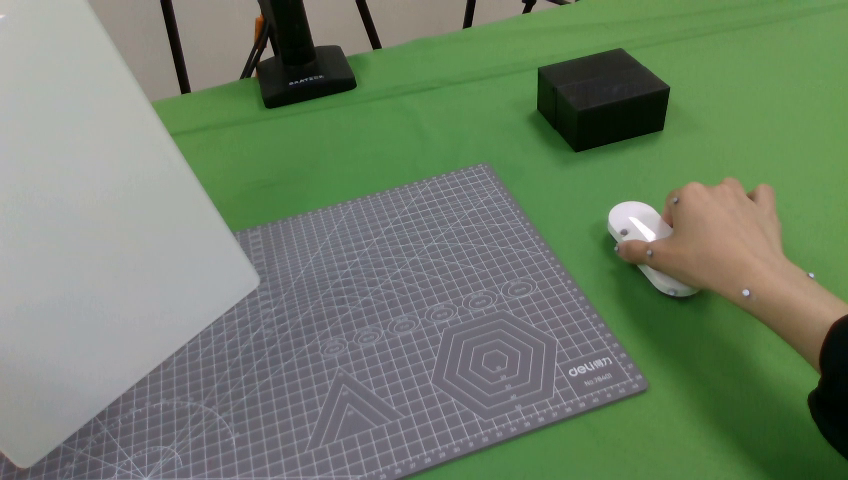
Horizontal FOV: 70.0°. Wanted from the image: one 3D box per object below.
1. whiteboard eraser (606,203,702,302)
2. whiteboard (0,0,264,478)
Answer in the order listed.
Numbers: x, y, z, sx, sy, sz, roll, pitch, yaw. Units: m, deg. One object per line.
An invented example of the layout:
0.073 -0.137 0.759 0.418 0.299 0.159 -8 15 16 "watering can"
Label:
0.187 0.007 0.497 0.041 0.019 0.100 -20 50 -8 "whiteboard eraser"
-0.306 -0.029 0.449 0.143 0.308 0.217 9 42 46 "whiteboard"
